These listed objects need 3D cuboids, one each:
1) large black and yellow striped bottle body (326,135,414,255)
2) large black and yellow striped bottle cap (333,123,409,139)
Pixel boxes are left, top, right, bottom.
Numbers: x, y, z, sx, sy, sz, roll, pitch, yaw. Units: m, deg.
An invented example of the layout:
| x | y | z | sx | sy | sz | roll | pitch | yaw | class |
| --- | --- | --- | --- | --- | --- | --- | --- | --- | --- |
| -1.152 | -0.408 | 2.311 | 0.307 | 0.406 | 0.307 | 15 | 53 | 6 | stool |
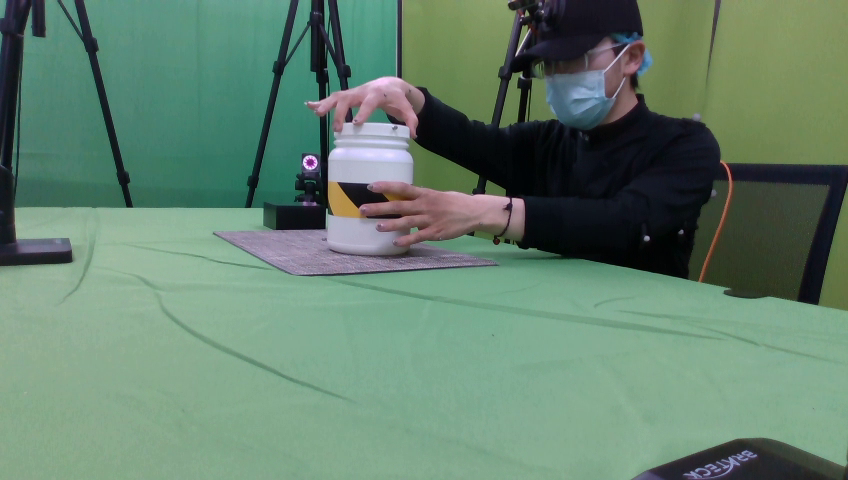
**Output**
| x | y | z | sx | sy | sz | roll | pitch | yaw | class |
| --- | --- | --- | --- | --- | --- | --- | --- | --- | --- |
| -0.082 | -0.076 | 0.925 | 0.131 | 0.184 | 0.130 | 2 | 7 | 0 | large black and yellow striped bottle body |
| -0.079 | -0.164 | 0.915 | 0.115 | 0.019 | 0.115 | 1 | 7 | 0 | large black and yellow striped bottle cap |
